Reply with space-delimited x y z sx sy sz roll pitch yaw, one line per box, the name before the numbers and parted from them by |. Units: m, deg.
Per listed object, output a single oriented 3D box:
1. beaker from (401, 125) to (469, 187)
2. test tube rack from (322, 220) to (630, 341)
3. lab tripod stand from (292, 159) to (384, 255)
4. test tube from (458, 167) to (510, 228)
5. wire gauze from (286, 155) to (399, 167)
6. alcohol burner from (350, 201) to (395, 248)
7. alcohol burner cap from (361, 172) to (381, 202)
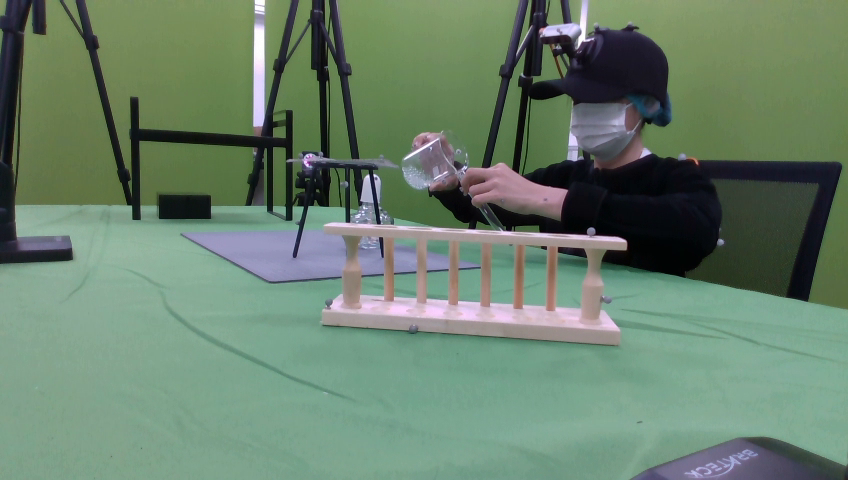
beaker | 0.017 -0.137 1.032 0.100 0.084 0.074 -25 -11 37
test tube rack | 0.041 0.029 0.512 0.242 0.085 0.067 3 7 5
lab tripod stand | -0.105 -0.039 0.797 0.148 0.131 0.148 2 5 0
test tube | 0.098 -0.060 0.969 0.017 0.017 0.149 -6 55 -46
wire gauze | -0.101 -0.105 0.788 0.121 0.011 0.125 4 6 6
alcohol burner | -0.084 -0.048 0.953 0.078 0.119 0.078 1 6 0
alcohol burner cap | -0.081 -0.084 0.949 0.034 0.048 0.034 7 7 -1
